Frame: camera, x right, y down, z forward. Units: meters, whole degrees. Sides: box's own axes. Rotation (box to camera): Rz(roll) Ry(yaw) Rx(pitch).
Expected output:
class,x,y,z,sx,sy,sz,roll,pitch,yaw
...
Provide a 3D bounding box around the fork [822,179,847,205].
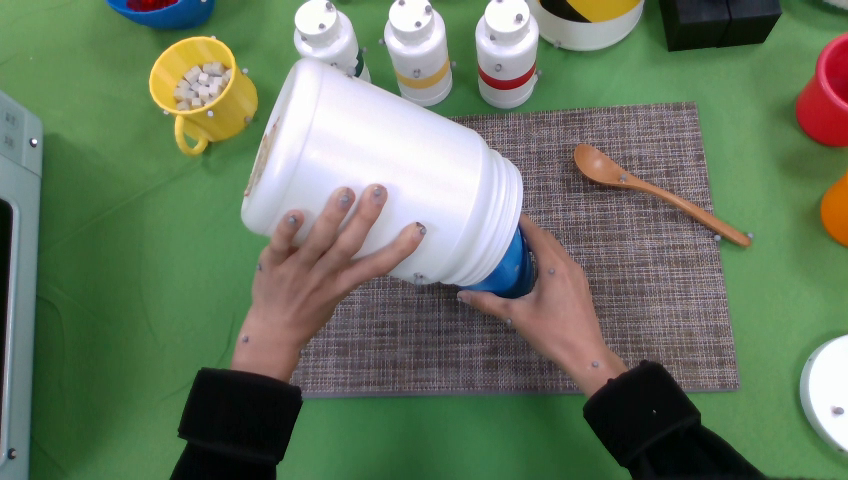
class,x,y,z,sx,sy,sz,roll,pitch,yaw
fork,0.440,-0.020,0.512,0.028,0.205,0.019,-24,115,-14

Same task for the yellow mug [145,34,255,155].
class,x,y,z,sx,sy,sz,roll,pitch,yaw
yellow mug,-0.257,-0.159,0.688,0.100,0.064,0.130,8,74,8

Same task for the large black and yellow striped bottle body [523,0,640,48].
class,x,y,z,sx,sy,sz,roll,pitch,yaw
large black and yellow striped bottle body,0.169,-0.303,0.620,0.130,0.185,0.130,-2,72,7

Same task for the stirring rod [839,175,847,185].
class,x,y,z,sx,sy,sz,roll,pitch,yaw
stirring rod,0.412,-0.021,0.525,0.014,0.006,0.175,0,29,4

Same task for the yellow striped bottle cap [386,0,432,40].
class,x,y,z,sx,sy,sz,roll,pitch,yaw
yellow striped bottle cap,-0.015,-0.220,0.595,0.044,0.019,0.044,-2,73,6

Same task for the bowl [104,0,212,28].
class,x,y,z,sx,sy,sz,roll,pitch,yaw
bowl,-0.311,-0.315,0.739,0.151,0.077,0.150,-2,72,6

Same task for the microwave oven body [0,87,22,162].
class,x,y,z,sx,sy,sz,roll,pitch,yaw
microwave oven body,-0.592,0.045,0.556,0.326,0.262,0.438,-12,72,3

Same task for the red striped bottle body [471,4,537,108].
class,x,y,z,sx,sy,sz,roll,pitch,yaw
red striped bottle body,0.084,-0.196,0.631,0.063,0.121,0.062,-4,68,11

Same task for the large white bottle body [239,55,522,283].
class,x,y,z,sx,sy,sz,roll,pitch,yaw
large white bottle body,-0.031,-0.043,0.462,0.186,0.130,0.130,19,72,-22

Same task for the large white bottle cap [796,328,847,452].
class,x,y,z,sx,sy,sz,roll,pitch,yaw
large white bottle cap,0.395,0.135,0.539,0.115,0.018,0.114,-2,71,6

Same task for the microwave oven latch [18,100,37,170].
class,x,y,z,sx,sy,sz,roll,pitch,yaw
microwave oven latch,-0.465,-0.118,0.695,0.030,0.030,0.078,-10,72,3

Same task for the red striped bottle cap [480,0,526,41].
class,x,y,z,sx,sy,sz,roll,pitch,yaw
red striped bottle cap,0.076,-0.214,0.581,0.044,0.018,0.044,-1,71,3

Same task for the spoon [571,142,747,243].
class,x,y,z,sx,sy,sz,roll,pitch,yaw
spoon,0.235,-0.047,0.611,0.193,0.022,0.041,29,53,14

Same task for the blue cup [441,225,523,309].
class,x,y,z,sx,sy,sz,roll,pitch,yaw
blue cup,0.053,0.020,0.558,0.092,0.101,0.092,-8,63,16

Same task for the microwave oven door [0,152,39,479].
class,x,y,z,sx,sy,sz,roll,pitch,yaw
microwave oven door,-0.443,0.054,0.530,0.039,0.245,0.353,-12,71,4

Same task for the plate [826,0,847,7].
class,x,y,z,sx,sy,sz,roll,pitch,yaw
plate,0.490,-0.338,0.670,0.209,0.038,0.208,-2,72,6

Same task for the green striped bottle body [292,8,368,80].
class,x,y,z,sx,sy,sz,roll,pitch,yaw
green striped bottle body,-0.102,-0.203,0.655,0.063,0.120,0.063,-2,71,6

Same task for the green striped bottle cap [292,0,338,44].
class,x,y,z,sx,sy,sz,roll,pitch,yaw
green striped bottle cap,-0.109,-0.219,0.606,0.044,0.020,0.044,-2,71,5

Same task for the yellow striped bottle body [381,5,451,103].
class,x,y,z,sx,sy,sz,roll,pitch,yaw
yellow striped bottle body,-0.008,-0.203,0.643,0.063,0.121,0.062,-2,71,8
